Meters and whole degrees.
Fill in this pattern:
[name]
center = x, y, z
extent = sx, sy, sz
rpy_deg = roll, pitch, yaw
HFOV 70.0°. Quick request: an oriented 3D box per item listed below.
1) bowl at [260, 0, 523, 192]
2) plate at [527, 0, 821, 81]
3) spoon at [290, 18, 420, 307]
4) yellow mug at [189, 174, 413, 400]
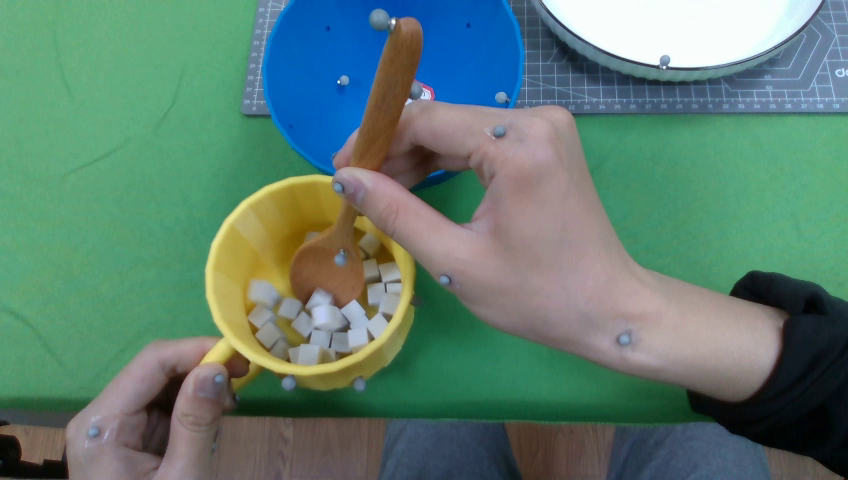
[bowl]
center = -0.016, -0.091, 0.379
extent = 0.151, 0.077, 0.150
rpy_deg = -1, 75, 5
[plate]
center = 0.166, -0.196, 0.422
extent = 0.209, 0.038, 0.207
rpy_deg = -1, 71, 4
[spoon]
center = -0.031, -0.017, 0.267
extent = 0.042, 0.194, 0.021
rpy_deg = 23, 57, -5
[yellow mug]
center = -0.067, 0.034, 0.314
extent = 0.099, 0.064, 0.130
rpy_deg = 44, 76, 12
